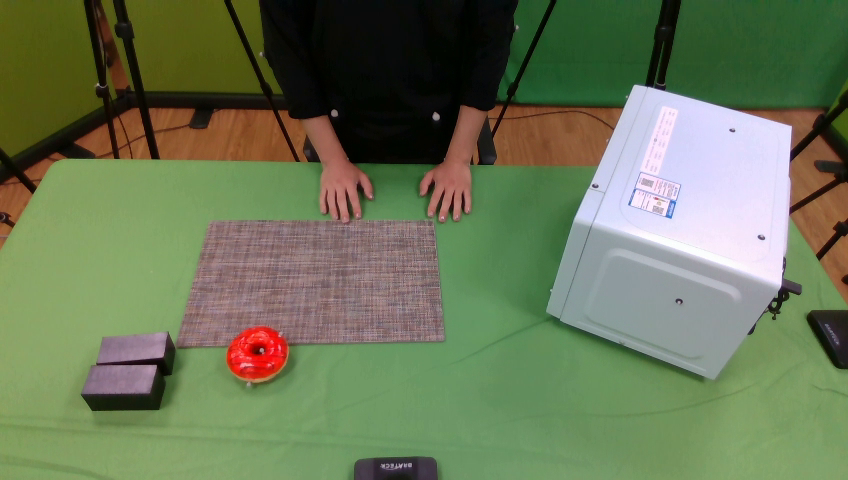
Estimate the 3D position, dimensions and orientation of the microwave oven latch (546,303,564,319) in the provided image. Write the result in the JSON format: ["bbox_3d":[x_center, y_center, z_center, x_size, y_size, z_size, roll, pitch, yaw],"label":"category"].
[{"bbox_3d":[0.242,0.102,1.081,0.030,0.029,0.079,21,48,17],"label":"microwave oven latch"}]

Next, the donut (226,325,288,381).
[{"bbox_3d":[-0.270,0.182,0.984,0.099,0.048,0.098,5,49,-5],"label":"donut"}]

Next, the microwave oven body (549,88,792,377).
[{"bbox_3d":[0.456,-0.028,1.088,0.325,0.261,0.440,20,47,16],"label":"microwave oven body"}]

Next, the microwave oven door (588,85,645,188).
[{"bbox_3d":[0.342,-0.107,1.149,0.039,0.245,0.354,20,48,15],"label":"microwave oven door"}]
